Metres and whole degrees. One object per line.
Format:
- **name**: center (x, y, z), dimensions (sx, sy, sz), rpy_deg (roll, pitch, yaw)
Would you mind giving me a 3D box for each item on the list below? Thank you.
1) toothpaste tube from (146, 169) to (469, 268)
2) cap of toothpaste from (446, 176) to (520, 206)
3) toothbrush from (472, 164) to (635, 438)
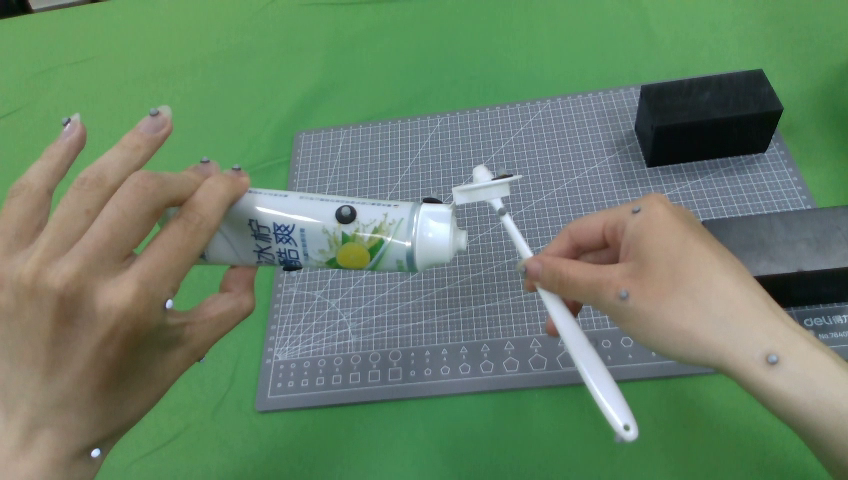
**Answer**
- **toothpaste tube**: center (-0.059, -0.009, 0.308), dimensions (0.165, 0.055, 0.034), rpy_deg (3, 30, 9)
- **cap of toothpaste**: center (0.029, -0.024, 0.292), dimensions (0.037, 0.037, 0.011), rpy_deg (-11, 94, 3)
- **toothbrush**: center (0.071, 0.028, 0.350), dimensions (0.014, 0.017, 0.180), rpy_deg (-26, 67, -2)
